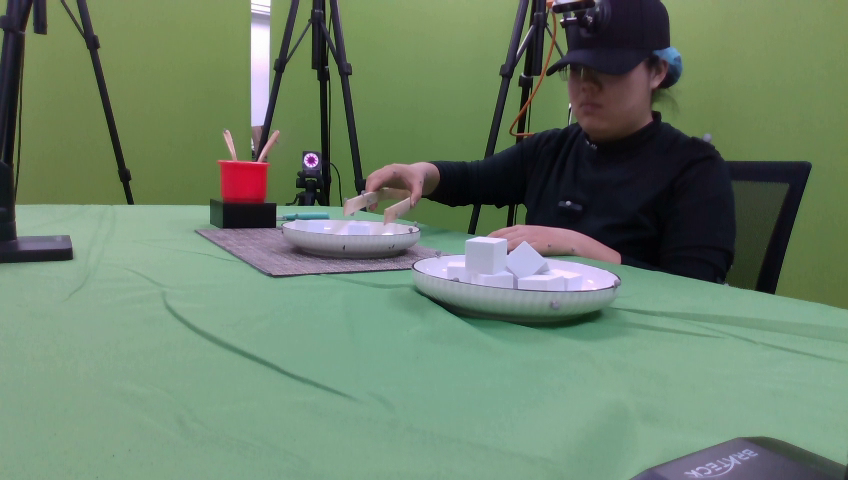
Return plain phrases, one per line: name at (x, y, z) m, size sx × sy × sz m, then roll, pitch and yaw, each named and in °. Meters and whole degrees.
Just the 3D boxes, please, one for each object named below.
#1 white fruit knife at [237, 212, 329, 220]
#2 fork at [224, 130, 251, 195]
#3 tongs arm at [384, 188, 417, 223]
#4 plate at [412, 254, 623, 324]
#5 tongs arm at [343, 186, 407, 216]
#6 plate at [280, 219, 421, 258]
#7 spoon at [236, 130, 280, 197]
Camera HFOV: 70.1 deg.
white fruit knife at (-0.304, -0.050, 1.328) m, size 0.208 × 0.016 × 0.027 m, roll -3°, pitch -19°, yaw -29°
fork at (-0.372, -0.155, 1.193) m, size 0.028 × 0.018 × 0.206 m, roll -17°, pitch 54°, yaw -13°
tongs arm at (-0.041, -0.066, 1.075) m, size 0.028 × 0.028 × 0.387 m, roll 5°, pitch 9°, yaw 4°
plate at (0.091, 0.047, 0.609) m, size 0.209 × 0.038 × 0.209 m, roll 2°, pitch 7°, yaw 0°
tongs arm at (-0.078, -0.072, 1.078) m, size 0.051 × 0.026 × 0.385 m, roll 8°, pitch 9°, yaw 4°
plate at (-0.108, -0.002, 0.902) m, size 0.208 × 0.039 × 0.207 m, roll 3°, pitch 7°, yaw 0°
spoon at (-0.321, -0.154, 1.192) m, size 0.041 × 0.193 × 0.022 m, roll 0°, pitch -37°, yaw 19°
